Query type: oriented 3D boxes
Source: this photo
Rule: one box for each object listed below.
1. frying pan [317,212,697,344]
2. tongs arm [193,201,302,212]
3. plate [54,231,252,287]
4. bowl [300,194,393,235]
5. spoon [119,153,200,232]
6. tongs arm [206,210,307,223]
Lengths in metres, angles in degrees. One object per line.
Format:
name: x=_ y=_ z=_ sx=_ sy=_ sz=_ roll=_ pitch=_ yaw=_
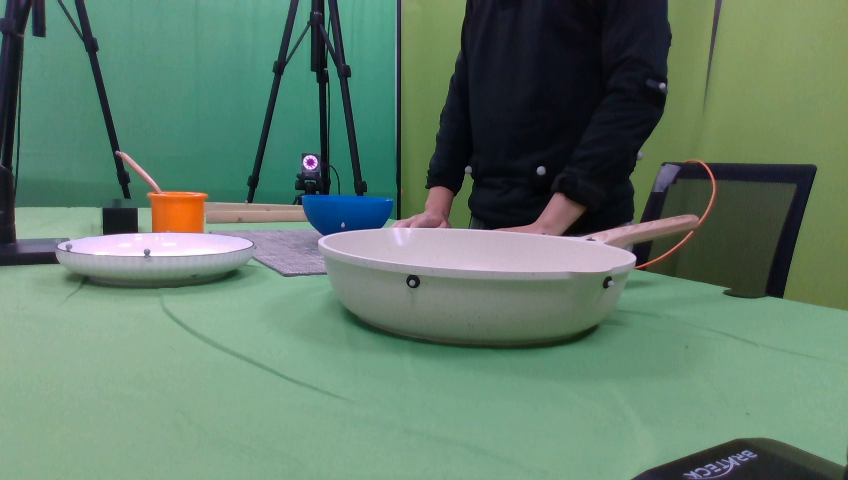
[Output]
frying pan: x=0.133 y=0.013 z=0.629 sx=0.490 sy=0.102 sz=0.305 roll=-12 pitch=14 yaw=-31
tongs arm: x=-0.338 y=-0.072 z=1.429 sx=0.387 sy=0.026 sz=0.050 roll=0 pitch=9 yaw=-26
plate: x=-0.309 y=0.020 z=0.705 sx=0.208 sy=0.039 sz=0.207 roll=3 pitch=7 yaw=0
bowl: x=-0.128 y=-0.034 z=0.995 sx=0.151 sy=0.077 sz=0.151 roll=2 pitch=7 yaw=0
spoon: x=-0.439 y=-0.077 z=1.001 sx=0.021 sy=0.193 sz=0.042 roll=-43 pitch=-6 yaw=21
tongs arm: x=-0.297 y=-0.057 z=1.360 sx=0.390 sy=0.028 sz=0.028 roll=-4 pitch=8 yaw=-39
